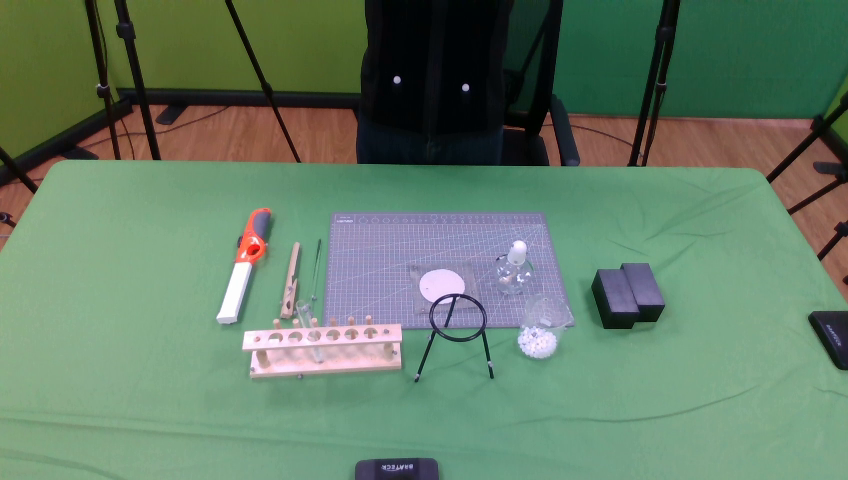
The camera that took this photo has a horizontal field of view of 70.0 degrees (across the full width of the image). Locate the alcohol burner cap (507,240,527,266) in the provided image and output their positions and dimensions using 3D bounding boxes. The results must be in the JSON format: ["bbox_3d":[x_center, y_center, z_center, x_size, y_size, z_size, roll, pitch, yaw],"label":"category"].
[{"bbox_3d":[0.167,0.021,1.075,0.034,0.048,0.033,0,55,-1],"label":"alcohol burner cap"}]

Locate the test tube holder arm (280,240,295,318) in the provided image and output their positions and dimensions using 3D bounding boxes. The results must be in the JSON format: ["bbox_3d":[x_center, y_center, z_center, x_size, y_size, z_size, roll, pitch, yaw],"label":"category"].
[{"bbox_3d":[-0.250,0.068,1.113,0.013,0.015,0.177,27,38,-32],"label":"test tube holder arm"}]

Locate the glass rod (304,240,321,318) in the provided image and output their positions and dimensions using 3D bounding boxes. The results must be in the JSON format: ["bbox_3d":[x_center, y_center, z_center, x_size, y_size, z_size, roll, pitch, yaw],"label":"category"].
[{"bbox_3d":[-0.207,0.068,1.128,0.008,0.008,0.198,2,43,-2],"label":"glass rod"}]

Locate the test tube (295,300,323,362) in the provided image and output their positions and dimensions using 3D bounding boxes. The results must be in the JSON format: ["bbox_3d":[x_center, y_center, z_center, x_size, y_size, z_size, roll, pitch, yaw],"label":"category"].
[{"bbox_3d":[-0.176,0.143,0.935,0.017,0.151,0.017,-2,46,2],"label":"test tube"}]

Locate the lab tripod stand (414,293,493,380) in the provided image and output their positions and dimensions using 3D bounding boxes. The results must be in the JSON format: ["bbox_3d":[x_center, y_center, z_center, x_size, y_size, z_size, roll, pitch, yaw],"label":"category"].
[{"bbox_3d":[0.052,0.159,0.972,0.148,0.132,0.147,4,46,-4],"label":"lab tripod stand"}]

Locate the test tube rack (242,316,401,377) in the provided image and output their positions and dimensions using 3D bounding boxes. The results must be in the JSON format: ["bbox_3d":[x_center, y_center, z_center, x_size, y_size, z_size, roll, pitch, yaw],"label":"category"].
[{"bbox_3d":[-0.161,0.166,0.983,0.242,0.085,0.066,-2,46,-6],"label":"test tube rack"}]

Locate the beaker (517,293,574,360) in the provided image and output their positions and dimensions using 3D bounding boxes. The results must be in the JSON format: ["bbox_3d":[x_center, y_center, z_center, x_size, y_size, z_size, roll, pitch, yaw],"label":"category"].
[{"bbox_3d":[0.200,0.149,1.018,0.084,0.101,0.073,14,47,8],"label":"beaker"}]

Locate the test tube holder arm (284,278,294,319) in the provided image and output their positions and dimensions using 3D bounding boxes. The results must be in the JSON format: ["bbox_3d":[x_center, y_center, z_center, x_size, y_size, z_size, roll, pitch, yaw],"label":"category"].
[{"bbox_3d":[-0.242,0.103,1.085,0.010,0.015,0.087,29,37,-30],"label":"test tube holder arm"}]

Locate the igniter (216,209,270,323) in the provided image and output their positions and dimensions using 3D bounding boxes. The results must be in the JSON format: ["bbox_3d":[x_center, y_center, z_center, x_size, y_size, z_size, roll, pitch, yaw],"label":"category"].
[{"bbox_3d":[-0.335,0.039,1.132,0.057,0.025,0.275,-3,46,6],"label":"igniter"}]

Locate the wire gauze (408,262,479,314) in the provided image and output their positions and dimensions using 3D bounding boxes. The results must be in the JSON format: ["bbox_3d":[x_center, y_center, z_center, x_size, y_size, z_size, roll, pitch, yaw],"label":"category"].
[{"bbox_3d":[0.036,0.085,1.127,0.121,0.011,0.124,-3,43,-6],"label":"wire gauze"}]

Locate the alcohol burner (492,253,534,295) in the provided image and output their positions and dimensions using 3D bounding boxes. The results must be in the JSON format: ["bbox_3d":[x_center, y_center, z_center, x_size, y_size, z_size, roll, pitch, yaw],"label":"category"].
[{"bbox_3d":[0.165,0.045,1.103,0.078,0.119,0.077,3,47,-3],"label":"alcohol burner"}]
